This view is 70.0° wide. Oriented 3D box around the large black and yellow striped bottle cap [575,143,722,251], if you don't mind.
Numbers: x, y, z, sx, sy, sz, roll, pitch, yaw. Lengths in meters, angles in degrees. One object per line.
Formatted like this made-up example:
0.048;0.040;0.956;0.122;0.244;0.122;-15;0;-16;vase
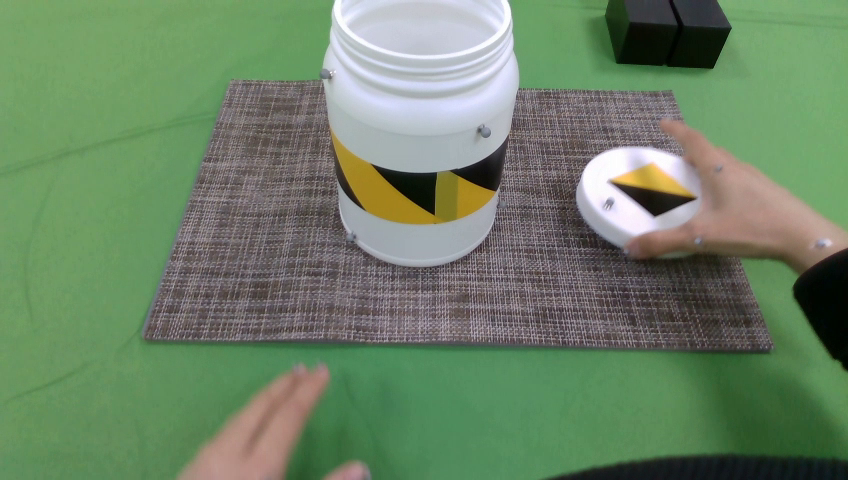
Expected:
0.181;-0.038;0.493;0.115;0.019;0.114;3;47;-3;large black and yellow striped bottle cap

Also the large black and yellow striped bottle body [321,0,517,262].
-0.004;-0.086;0.436;0.131;0.185;0.129;1;51;-1;large black and yellow striped bottle body
